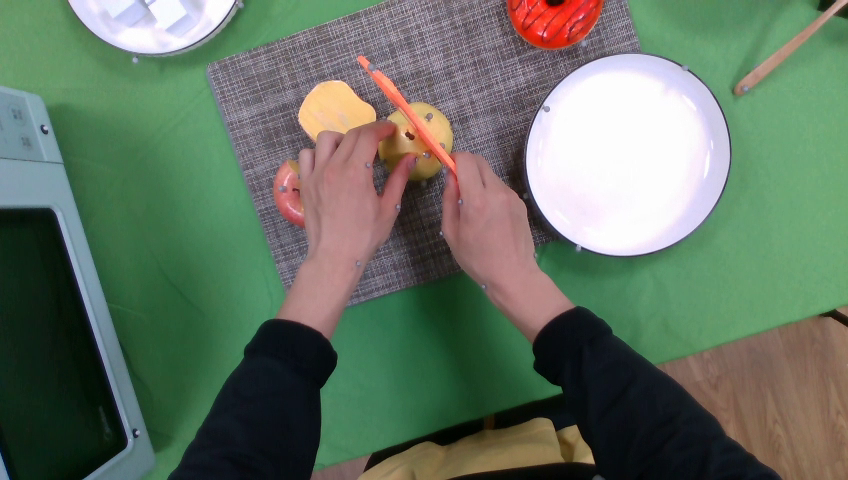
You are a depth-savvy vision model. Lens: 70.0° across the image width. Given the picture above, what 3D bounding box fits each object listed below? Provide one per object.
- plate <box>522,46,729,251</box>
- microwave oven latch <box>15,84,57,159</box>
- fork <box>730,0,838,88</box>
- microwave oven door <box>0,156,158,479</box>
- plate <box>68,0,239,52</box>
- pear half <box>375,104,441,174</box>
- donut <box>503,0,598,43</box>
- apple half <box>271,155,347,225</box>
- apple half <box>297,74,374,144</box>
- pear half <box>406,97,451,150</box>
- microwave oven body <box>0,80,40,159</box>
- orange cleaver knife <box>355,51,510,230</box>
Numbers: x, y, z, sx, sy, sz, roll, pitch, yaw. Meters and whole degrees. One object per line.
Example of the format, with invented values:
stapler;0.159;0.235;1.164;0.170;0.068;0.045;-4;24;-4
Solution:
plate;0.206;-0.094;0.634;0.209;0.038;0.209;0;95;3
microwave oven latch;-0.425;-0.125;0.650;0.030;0.029;0.079;-14;95;4
fork;0.389;-0.227;0.590;0.028;0.018;0.207;40;116;-8
microwave oven door;-0.374;0.095;0.566;0.039;0.243;0.356;-16;94;4
plate;-0.284;-0.304;0.645;0.207;0.039;0.208;0;95;3
pear half;-0.022;-0.099;0.610;0.056;0.110;0.076;-39;87;7
donut;0.130;-0.252;0.620;0.099;0.048;0.099;1;97;6
apple half;-0.127;-0.046;0.639;0.081;0.074;0.053;36;100;-4
apple half;-0.096;-0.132;0.645;0.081;0.033;0.081;3;73;-8
pear half;0.008;-0.120;0.617;0.031;0.088;0.070;-39;84;2
microwave oven body;-0.526;0.092;0.580;0.326;0.260;0.442;-16;95;4
orange cleaver knife;0.011;-0.087;0.558;0.012;0.076;0.213;-42;121;3
